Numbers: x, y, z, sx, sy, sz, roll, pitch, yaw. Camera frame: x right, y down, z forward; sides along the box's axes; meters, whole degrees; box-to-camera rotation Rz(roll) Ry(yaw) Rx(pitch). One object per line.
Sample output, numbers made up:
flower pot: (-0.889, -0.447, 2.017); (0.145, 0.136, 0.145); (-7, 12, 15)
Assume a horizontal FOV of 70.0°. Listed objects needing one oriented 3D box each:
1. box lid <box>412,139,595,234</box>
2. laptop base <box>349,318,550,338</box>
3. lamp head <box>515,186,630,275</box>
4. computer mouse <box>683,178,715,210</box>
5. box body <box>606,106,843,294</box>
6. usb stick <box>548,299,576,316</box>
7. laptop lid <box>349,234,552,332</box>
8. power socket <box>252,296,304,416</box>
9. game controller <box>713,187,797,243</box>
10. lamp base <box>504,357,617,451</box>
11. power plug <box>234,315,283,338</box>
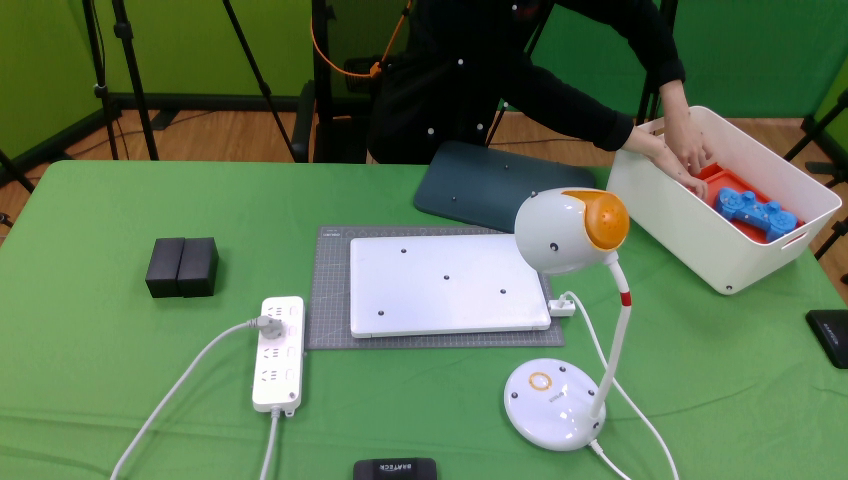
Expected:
box lid: (0.182, -0.111, 1.327); (0.371, 0.015, 0.262); (14, 46, 10)
laptop base: (0.039, 0.081, 1.125); (0.355, 0.023, 0.234); (-2, 43, -6)
lamp head: (0.188, -0.013, 0.728); (0.112, 0.112, 0.122); (-25, 9, -25)
computer mouse: (0.596, -0.078, 1.291); (0.117, 0.041, 0.063); (56, 46, -7)
box body: (0.582, -0.088, 1.230); (0.254, 0.161, 0.361); (-22, 52, -23)
usb stick: (0.239, 0.121, 1.084); (0.059, 0.027, 0.021); (-1, 51, -1)
laptop lid: (0.040, 0.071, 1.118); (0.357, 0.013, 0.240); (0, 44, -5)
power socket: (-0.238, 0.181, 0.997); (0.072, 0.033, 0.225); (-3, 47, -5)
game controller: (0.646, -0.058, 1.184); (0.154, 0.052, 0.097); (27, 53, 21)
lamp base: (0.220, 0.211, 0.903); (0.160, 0.181, 0.178); (-33, 59, -30)
power plug: (-0.269, 0.143, 1.000); (0.072, 0.053, 0.035); (4, 47, 3)
